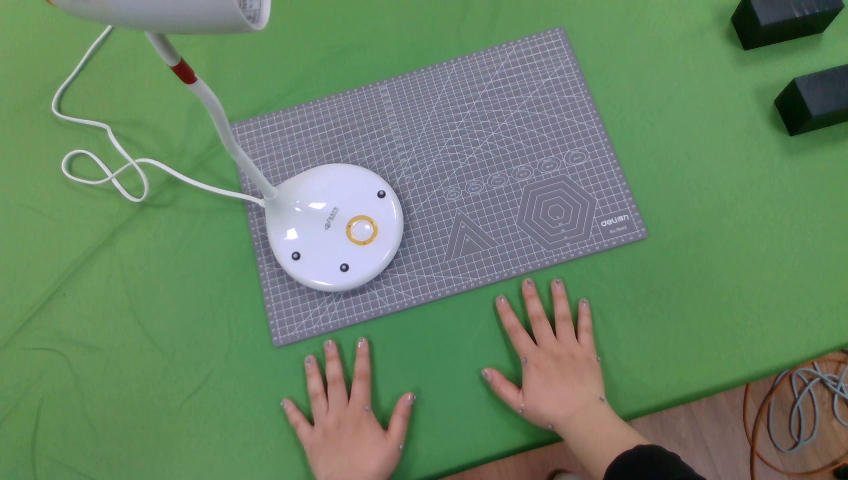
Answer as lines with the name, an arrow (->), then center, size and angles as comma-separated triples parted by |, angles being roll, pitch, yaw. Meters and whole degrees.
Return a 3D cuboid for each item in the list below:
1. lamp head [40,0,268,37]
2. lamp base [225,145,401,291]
lamp head -> -0.161, -0.166, 0.346 | 0.123, 0.113, 0.111 | -9, 73, 8
lamp base -> -0.127, -0.042, 0.647 | 0.179, 0.181, 0.160 | 9, 74, 11
